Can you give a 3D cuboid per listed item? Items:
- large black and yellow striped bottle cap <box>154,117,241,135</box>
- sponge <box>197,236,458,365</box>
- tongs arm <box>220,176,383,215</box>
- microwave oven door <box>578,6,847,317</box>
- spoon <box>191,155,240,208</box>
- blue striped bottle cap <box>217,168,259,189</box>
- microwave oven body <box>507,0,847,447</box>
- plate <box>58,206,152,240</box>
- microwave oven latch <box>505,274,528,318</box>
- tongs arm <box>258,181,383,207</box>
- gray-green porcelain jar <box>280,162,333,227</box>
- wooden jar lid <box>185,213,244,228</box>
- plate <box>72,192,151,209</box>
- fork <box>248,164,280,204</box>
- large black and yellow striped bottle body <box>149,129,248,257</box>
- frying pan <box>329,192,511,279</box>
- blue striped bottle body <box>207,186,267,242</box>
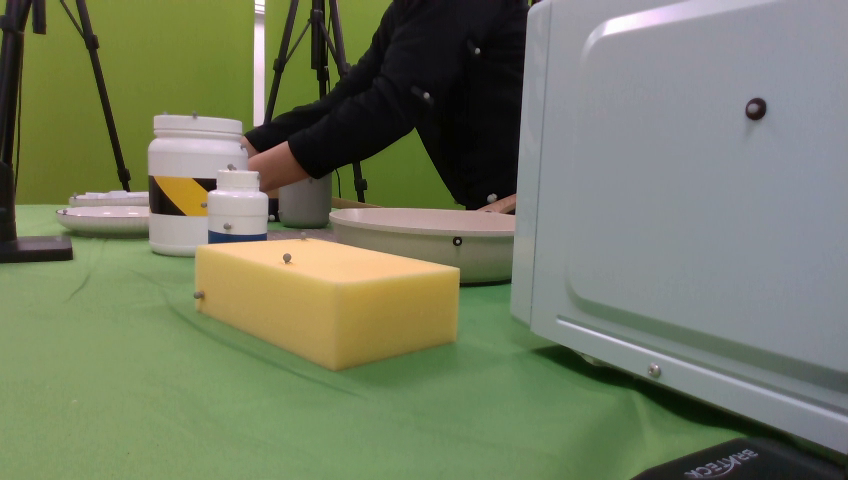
[{"bbox_3d":[-0.314,-0.158,0.843,0.115,0.019,0.115,3,7,0],"label":"large black and yellow striped bottle cap"},{"bbox_3d":[-0.087,0.039,0.500,0.206,0.061,0.119,8,9,44],"label":"sponge"},{"bbox_3d":[-0.284,-0.105,1.445,0.389,0.027,0.028,9,-3,-23],"label":"tongs arm"},{"bbox_3d":[0.294,-0.067,0.570,0.358,0.243,0.039,-3,9,-31],"label":"microwave oven door"},{"bbox_3d":[-0.489,-0.134,1.416,0.041,0.021,0.194,4,-36,21],"label":"spoon"},{"bbox_3d":[-0.202,-0.067,0.657,0.044,0.020,0.044,0,10,0],"label":"blue striped bottle cap"},{"bbox_3d":[0.331,-0.042,0.425,0.444,0.260,0.324,-2,8,-31],"label":"microwave oven body"},{"bbox_3d":[-0.496,-0.030,1.021,0.209,0.038,0.209,2,8,0],"label":"plate"},{"bbox_3d":[0.100,0.041,0.472,0.079,0.029,0.030,-2,8,-29],"label":"microwave oven latch"},{"bbox_3d":[-0.241,-0.095,1.373,0.387,0.026,0.050,9,0,-37],"label":"tongs arm"},{"bbox_3d":[-0.237,-0.092,1.221,0.106,0.126,0.106,2,7,0],"label":"gray-green porcelain jar"},{"bbox_3d":[-0.404,-0.037,1.169,0.108,0.020,0.108,3,7,0],"label":"wooden jar lid"},{"bbox_3d":[-0.597,-0.072,1.233,0.208,0.039,0.207,-2,9,1],"label":"plate"},{"bbox_3d":[-0.399,-0.143,1.488,0.028,0.018,0.208,23,-23,47],"label":"fork"},{"bbox_3d":[-0.315,-0.075,0.854,0.131,0.184,0.130,2,7,0],"label":"large black and yellow striped bottle body"},{"bbox_3d":[0.072,-0.030,0.883,0.305,0.102,0.490,7,17,28],"label":"frying pan"},{"bbox_3d":[-0.204,-0.016,0.663,0.063,0.120,0.063,2,7,0],"label":"blue striped bottle body"}]
